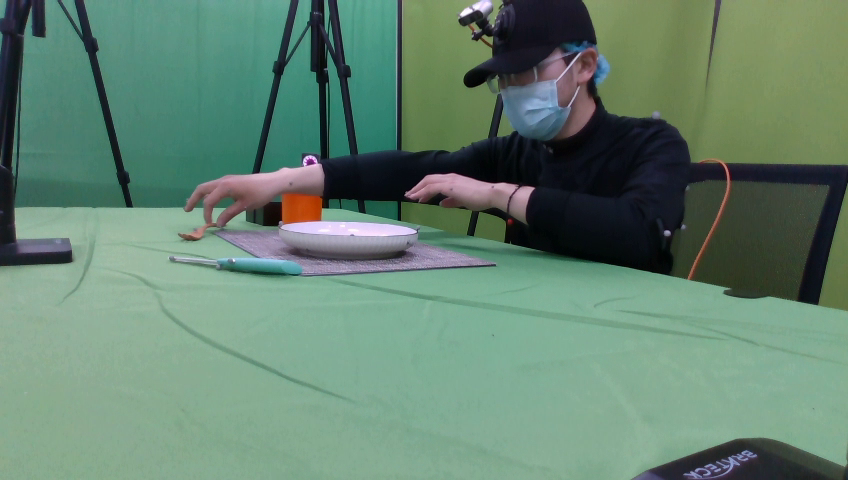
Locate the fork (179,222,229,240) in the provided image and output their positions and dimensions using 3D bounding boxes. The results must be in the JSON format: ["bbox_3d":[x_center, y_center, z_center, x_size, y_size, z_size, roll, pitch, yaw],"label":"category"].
[{"bbox_3d":[-0.381,-0.019,1.063,0.028,0.018,0.207,11,9,-1],"label":"fork"}]

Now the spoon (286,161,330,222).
[{"bbox_3d":[-0.234,-0.101,1.252,0.041,0.022,0.193,5,53,21],"label":"spoon"}]

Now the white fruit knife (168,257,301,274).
[{"bbox_3d":[-0.243,0.029,0.749,0.206,0.016,0.027,2,-17,26],"label":"white fruit knife"}]

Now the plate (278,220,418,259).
[{"bbox_3d":[-0.114,-0.002,0.914,0.209,0.038,0.209,2,8,0],"label":"plate"}]
